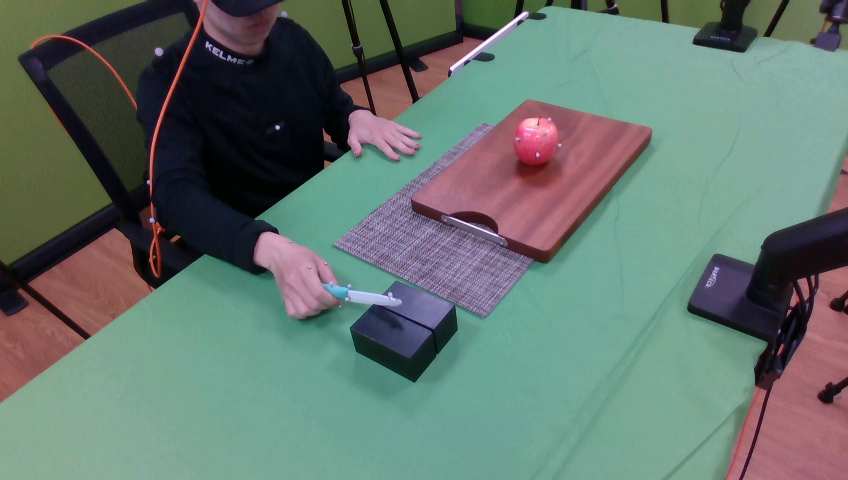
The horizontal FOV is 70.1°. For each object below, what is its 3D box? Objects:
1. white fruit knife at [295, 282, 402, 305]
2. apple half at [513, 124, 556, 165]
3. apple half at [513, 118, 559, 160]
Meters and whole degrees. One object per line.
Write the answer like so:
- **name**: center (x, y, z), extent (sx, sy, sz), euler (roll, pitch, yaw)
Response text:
- **white fruit knife**: center (-0.110, 0.075, 0.840), extent (0.206, 0.027, 0.016), euler (2, 38, 37)
- **apple half**: center (0.185, -0.157, 1.041), extent (0.081, 0.081, 0.033), euler (14, 41, 24)
- **apple half**: center (0.203, -0.180, 1.067), extent (0.080, 0.075, 0.053), euler (12, 40, 26)
